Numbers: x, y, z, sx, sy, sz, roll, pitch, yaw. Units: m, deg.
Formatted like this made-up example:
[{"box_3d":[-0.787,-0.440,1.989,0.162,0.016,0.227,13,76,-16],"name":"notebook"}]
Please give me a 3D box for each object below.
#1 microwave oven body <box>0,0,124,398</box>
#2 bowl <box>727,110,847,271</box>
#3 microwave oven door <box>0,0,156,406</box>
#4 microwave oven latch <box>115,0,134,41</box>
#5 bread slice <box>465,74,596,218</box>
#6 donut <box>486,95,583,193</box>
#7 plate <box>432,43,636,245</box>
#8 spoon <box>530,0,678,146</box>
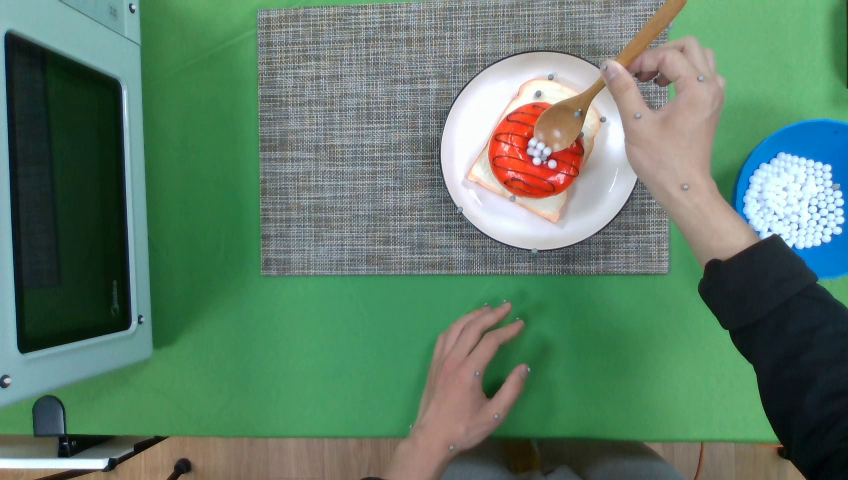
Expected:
[{"box_3d":[-0.492,-0.079,0.592,0.326,0.260,0.441,-3,91,5],"name":"microwave oven body"},{"box_3d":[0.368,-0.045,0.599,0.151,0.077,0.151,0,90,6],"name":"bowl"},{"box_3d":[-0.345,-0.044,0.573,0.039,0.244,0.355,-3,90,7],"name":"microwave oven door"},{"box_3d":[-0.342,-0.263,0.671,0.030,0.029,0.079,-2,91,5],"name":"microwave oven latch"},{"box_3d":[0.117,-0.106,0.643,0.107,0.018,0.134,24,96,5],"name":"bread slice"},{"box_3d":[0.111,-0.096,0.613,0.099,0.048,0.099,0,91,7],"name":"donut"},{"box_3d":[0.114,-0.098,0.641,0.207,0.039,0.207,0,91,6],"name":"plate"},{"box_3d":[0.148,-0.140,0.511,0.041,0.194,0.021,43,59,0],"name":"spoon"}]
